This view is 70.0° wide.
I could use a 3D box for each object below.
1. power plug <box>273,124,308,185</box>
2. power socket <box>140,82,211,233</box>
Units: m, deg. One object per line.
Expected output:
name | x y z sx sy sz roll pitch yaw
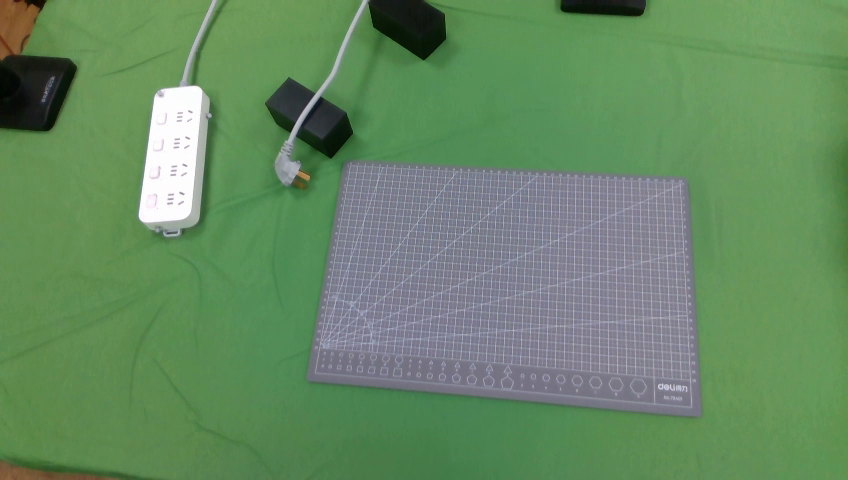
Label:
power plug | -0.167 -0.106 0.791 0.053 0.073 0.035 28 27 -21
power socket | -0.335 -0.119 0.823 0.072 0.033 0.225 -4 68 2
